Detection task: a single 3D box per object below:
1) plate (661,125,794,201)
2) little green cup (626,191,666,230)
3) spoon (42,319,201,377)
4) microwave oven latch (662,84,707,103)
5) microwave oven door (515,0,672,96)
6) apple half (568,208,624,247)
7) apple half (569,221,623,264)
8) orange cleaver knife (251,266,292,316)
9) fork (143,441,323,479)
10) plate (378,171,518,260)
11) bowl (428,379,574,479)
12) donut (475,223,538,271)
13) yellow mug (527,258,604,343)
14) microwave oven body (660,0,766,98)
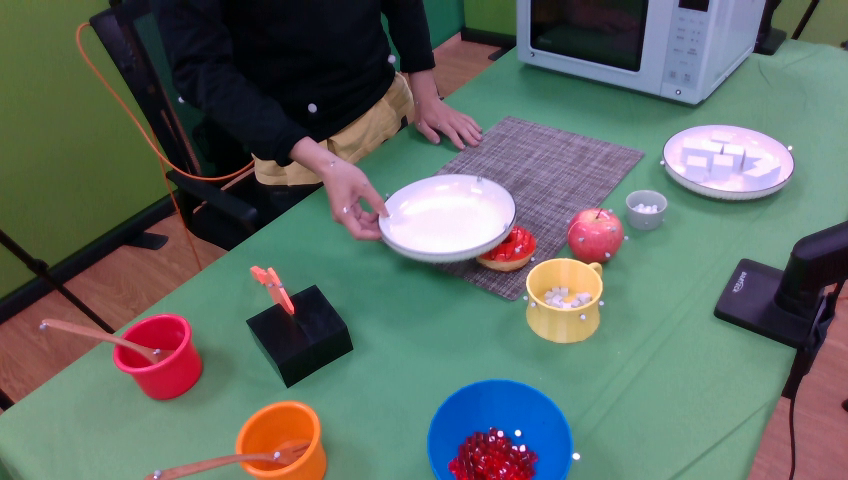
[{"bbox_3d":[0.513,-0.128,1.035,0.207,0.039,0.206,-4,40,4],"label":"plate"},{"bbox_3d":[0.352,-0.046,0.963,0.061,0.039,0.061,-4,40,4],"label":"little green cup"},{"bbox_3d":[-0.385,0.135,0.779,0.195,0.021,0.041,29,37,-26],"label":"spoon"},{"bbox_3d":[0.517,-0.296,1.204,0.078,0.029,0.030,27,52,35],"label":"microwave oven latch"},{"bbox_3d":[0.343,-0.454,1.259,0.353,0.245,0.039,26,51,33],"label":"microwave oven door"},{"bbox_3d":[0.259,-0.014,0.914,0.080,0.075,0.053,0,36,15],"label":"apple half"},{"bbox_3d":[0.251,0.010,0.884,0.081,0.081,0.032,3,37,12],"label":"apple half"},{"bbox_3d":[-0.221,0.071,0.873,0.012,0.077,0.210,-25,11,-21],"label":"orange cleaver knife"},{"bbox_3d":[-0.189,0.231,0.631,0.028,0.018,0.209,35,12,37],"label":"fork"},{"bbox_3d":[0.037,-0.034,0.905,0.209,0.038,0.208,-5,37,4],"label":"plate"},{"bbox_3d":[0.082,0.233,0.644,0.151,0.077,0.150,-4,39,4],"label":"bowl"},{"bbox_3d":[0.124,0.008,0.923,0.099,0.048,0.098,-4,37,3],"label":"donut"},{"bbox_3d":[0.201,0.073,0.825,0.131,0.064,0.099,-32,46,-27],"label":"yellow mug"},{"bbox_3d":[0.472,-0.513,1.317,0.438,0.261,0.327,26,51,34],"label":"microwave oven body"}]
